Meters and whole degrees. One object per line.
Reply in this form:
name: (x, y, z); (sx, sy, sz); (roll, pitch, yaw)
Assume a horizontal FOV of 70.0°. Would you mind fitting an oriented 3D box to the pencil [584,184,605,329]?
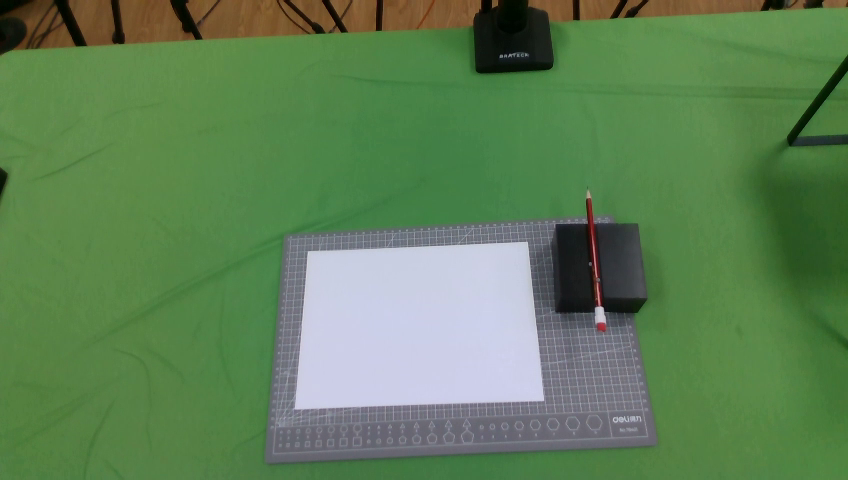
pencil: (0.205, 0.015, 0.732); (0.012, 0.012, 0.192); (0, 64, 4)
